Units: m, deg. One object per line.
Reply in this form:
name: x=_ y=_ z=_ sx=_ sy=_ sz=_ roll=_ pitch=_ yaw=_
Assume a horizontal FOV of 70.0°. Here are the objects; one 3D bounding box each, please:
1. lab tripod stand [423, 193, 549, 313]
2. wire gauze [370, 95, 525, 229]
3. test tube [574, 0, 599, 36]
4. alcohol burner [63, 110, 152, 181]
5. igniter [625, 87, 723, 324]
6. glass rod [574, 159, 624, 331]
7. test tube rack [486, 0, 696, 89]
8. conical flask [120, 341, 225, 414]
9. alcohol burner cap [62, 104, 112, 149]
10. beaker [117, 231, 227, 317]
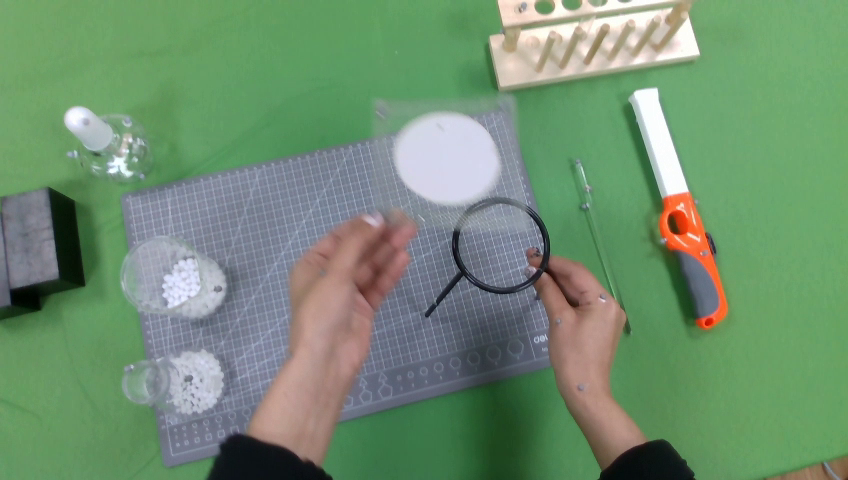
lab tripod stand: x=0.061 y=0.020 z=0.602 sx=0.148 sy=0.132 sz=0.147 roll=1 pitch=78 yaw=-4
wire gauze: x=0.018 y=-0.067 z=0.495 sx=0.125 sy=0.011 sz=0.120 roll=1 pitch=69 yaw=-3
test tube: x=0.181 y=-0.262 z=0.644 sx=0.017 sy=0.151 sz=0.017 roll=0 pitch=78 yaw=2
alcohol burner: x=-0.337 y=-0.106 z=0.635 sx=0.078 sy=0.119 sz=0.077 roll=0 pitch=79 yaw=0
igniter: x=0.280 y=-0.043 z=0.681 sx=0.057 sy=0.025 sz=0.275 roll=-10 pitch=78 yaw=-13
glass rod: x=0.196 y=0.004 z=0.679 sx=0.008 sy=0.008 sz=0.199 roll=-12 pitch=81 yaw=-4
test tube rack: x=0.199 y=-0.240 z=0.691 sx=0.242 sy=0.085 sz=0.066 roll=-10 pitch=78 yaw=-3
conical flask: x=-0.244 y=0.132 z=0.580 sx=0.075 sy=0.122 sz=0.075 roll=0 pitch=78 yaw=-1
alcohol burner cap: x=-0.337 y=-0.116 z=0.600 sx=0.034 sy=0.048 sz=0.033 roll=0 pitch=71 yaw=0
beaker: x=-0.245 y=0.040 z=0.611 sx=0.084 sy=0.100 sz=0.074 roll=22 pitch=78 yaw=3
